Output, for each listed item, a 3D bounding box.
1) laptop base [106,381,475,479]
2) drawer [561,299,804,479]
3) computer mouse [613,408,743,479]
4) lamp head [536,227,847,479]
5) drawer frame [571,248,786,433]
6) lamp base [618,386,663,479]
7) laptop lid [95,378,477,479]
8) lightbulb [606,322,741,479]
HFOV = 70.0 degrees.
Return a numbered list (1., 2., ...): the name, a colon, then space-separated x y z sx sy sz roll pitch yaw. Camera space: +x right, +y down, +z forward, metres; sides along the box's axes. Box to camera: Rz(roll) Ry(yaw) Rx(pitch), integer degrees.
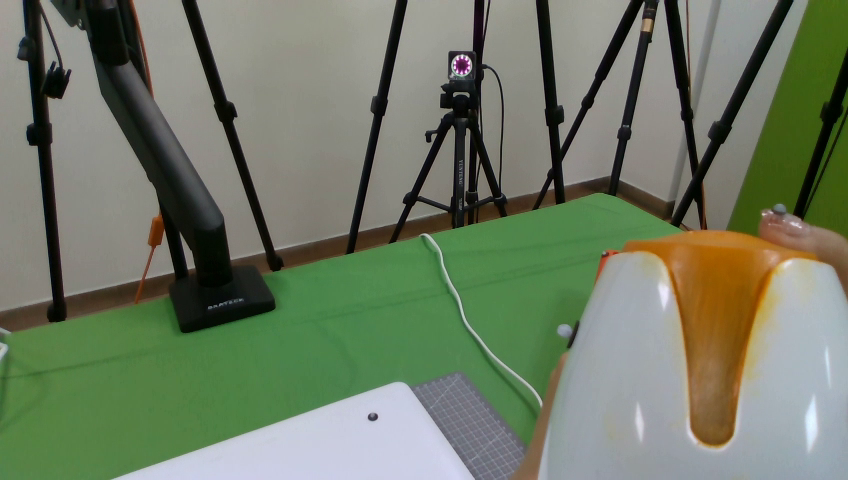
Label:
1. laptop base: -0.125 0.245 0.500 0.355 0.023 0.233 -13 35 -25
2. drawer: 0.253 0.155 0.620 0.194 0.074 0.211 9 29 17
3. computer mouse: 0.239 0.195 0.573 0.117 0.041 0.062 10 27 8
4. lamp head: 0.095 0.058 0.204 0.112 0.122 0.112 5 -6 1
5. drawer frame: 0.290 0.104 0.712 0.201 0.083 0.213 10 29 17
6. lamp base: 0.149 0.204 0.412 0.161 0.181 0.177 1 26 -3
7. laptop lid: -0.124 0.236 0.492 0.358 0.013 0.239 -13 33 -24
8. lightbulb: 0.086 0.082 0.207 0.059 0.107 0.059 5 -7 1
